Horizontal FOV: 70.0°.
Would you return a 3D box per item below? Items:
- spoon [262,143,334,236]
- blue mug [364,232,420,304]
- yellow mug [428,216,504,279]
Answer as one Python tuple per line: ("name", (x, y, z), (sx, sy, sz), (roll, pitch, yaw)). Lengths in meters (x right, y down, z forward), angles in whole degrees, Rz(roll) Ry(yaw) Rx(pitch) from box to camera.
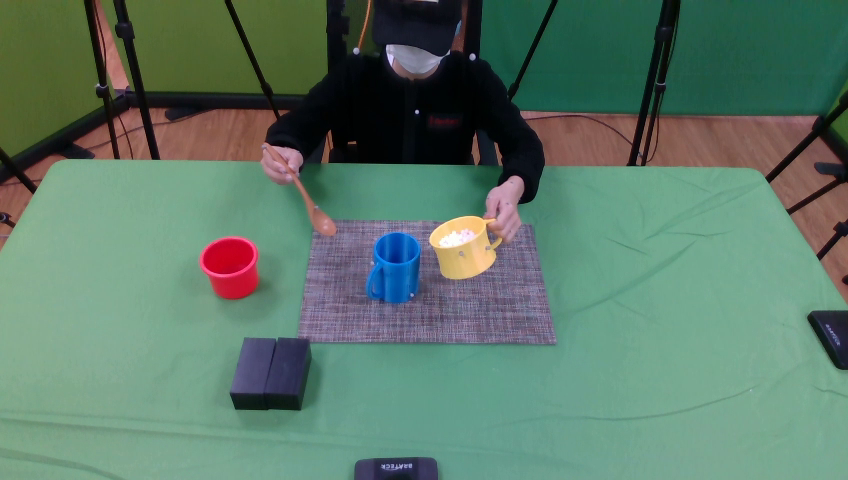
("spoon", (-0.214, -0.085, 1.035), (0.021, 0.194, 0.041), (-14, 28, 33))
("blue mug", (-0.063, 0.059, 1.074), (0.082, 0.106, 0.116), (35, 53, 27))
("yellow mug", (0.077, 0.005, 1.024), (0.131, 0.064, 0.099), (-26, 27, -12))
